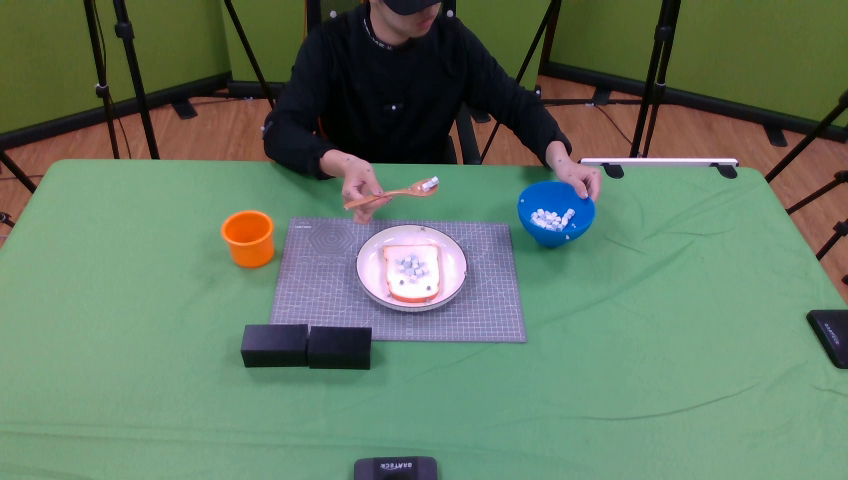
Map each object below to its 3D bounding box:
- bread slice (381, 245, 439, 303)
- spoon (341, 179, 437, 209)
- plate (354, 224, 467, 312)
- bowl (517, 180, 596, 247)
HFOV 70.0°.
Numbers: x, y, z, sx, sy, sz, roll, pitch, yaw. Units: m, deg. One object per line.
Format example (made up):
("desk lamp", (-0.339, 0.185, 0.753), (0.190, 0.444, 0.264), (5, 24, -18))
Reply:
("bread slice", (-0.022, 0.061, 1.126), (0.107, 0.018, 0.133), (-3, 45, -8))
("spoon", (-0.062, -0.084, 1.111), (0.194, 0.022, 0.041), (-13, 53, -28))
("plate", (-0.025, 0.055, 1.128), (0.209, 0.038, 0.208), (3, 46, -2))
("bowl", (0.254, -0.041, 1.191), (0.151, 0.077, 0.150), (0, 45, 0))
